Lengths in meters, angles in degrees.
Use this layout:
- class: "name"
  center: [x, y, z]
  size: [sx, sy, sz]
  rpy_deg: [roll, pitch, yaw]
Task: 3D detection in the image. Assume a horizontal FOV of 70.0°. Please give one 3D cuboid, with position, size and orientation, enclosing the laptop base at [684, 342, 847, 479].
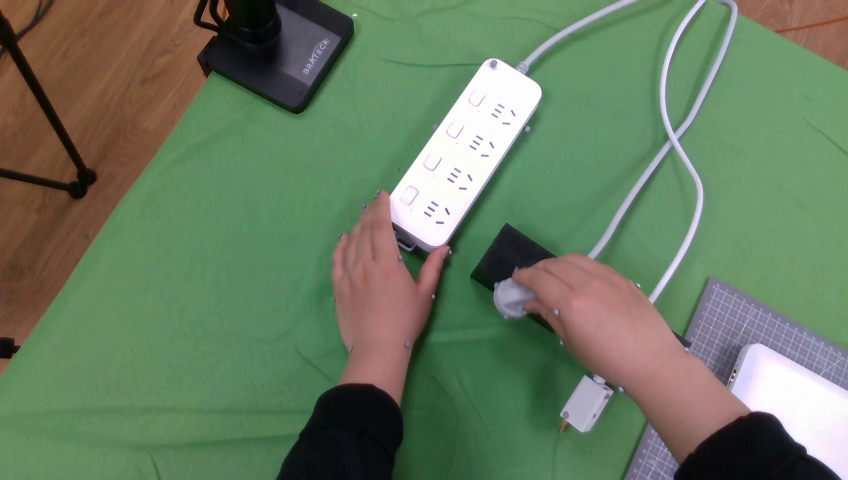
- class: "laptop base"
  center: [0.410, 0.279, 0.567]
  size: [0.354, 0.023, 0.235]
  rpy_deg: [29, 79, 2]

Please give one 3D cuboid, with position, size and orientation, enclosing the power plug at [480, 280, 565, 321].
- class: "power plug"
  center: [0.088, 0.057, 0.538]
  size: [0.073, 0.052, 0.035]
  rpy_deg: [17, 60, -37]

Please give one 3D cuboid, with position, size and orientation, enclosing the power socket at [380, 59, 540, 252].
- class: "power socket"
  center: [0.038, -0.087, 0.610]
  size: [0.072, 0.032, 0.226]
  rpy_deg: [34, 75, 2]

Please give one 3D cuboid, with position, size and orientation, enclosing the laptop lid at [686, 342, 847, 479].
- class: "laptop lid"
  center: [0.410, 0.278, 0.555]
  size: [0.356, 0.013, 0.241]
  rpy_deg: [31, 78, 2]

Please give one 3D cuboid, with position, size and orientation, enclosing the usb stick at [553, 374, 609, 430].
- class: "usb stick"
  center: [0.140, 0.152, 0.549]
  size: [0.027, 0.022, 0.059]
  rpy_deg: [39, 103, 33]
